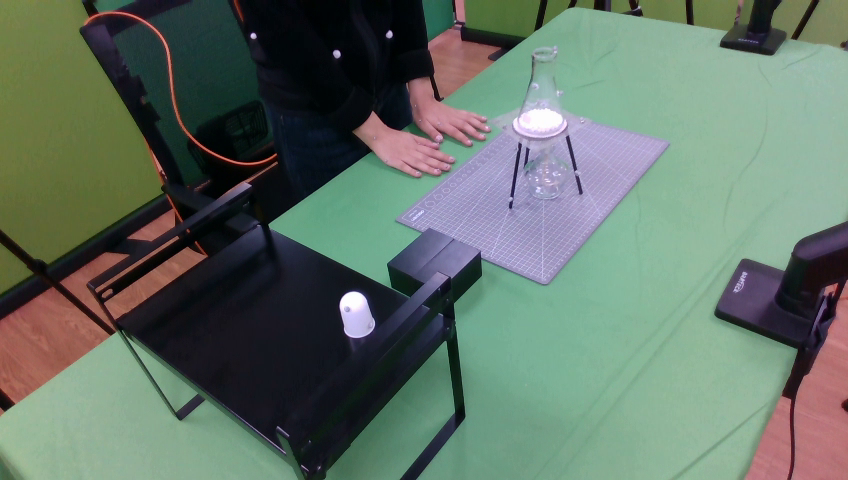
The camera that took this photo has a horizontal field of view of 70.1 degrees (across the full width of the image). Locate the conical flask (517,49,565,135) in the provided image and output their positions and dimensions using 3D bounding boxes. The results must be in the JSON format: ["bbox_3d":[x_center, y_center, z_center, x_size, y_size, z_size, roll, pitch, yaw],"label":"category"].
[{"bbox_3d":[0.183,-0.231,0.936,0.075,0.122,0.075,-4,40,4],"label":"conical flask"}]

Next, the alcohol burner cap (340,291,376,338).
[{"bbox_3d":[-0.067,0.072,0.605,0.034,0.048,0.033,-5,42,5],"label":"alcohol burner cap"}]

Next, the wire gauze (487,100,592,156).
[{"bbox_3d":[0.185,-0.187,0.974,0.122,0.011,0.124,-28,47,-22],"label":"wire gauze"}]

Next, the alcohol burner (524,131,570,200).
[{"bbox_3d":[0.208,-0.129,1.021,0.078,0.119,0.077,-4,38,4],"label":"alcohol burner"}]

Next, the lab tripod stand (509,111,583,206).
[{"bbox_3d":[0.198,-0.139,1.019,0.148,0.132,0.147,-3,39,3],"label":"lab tripod stand"}]
